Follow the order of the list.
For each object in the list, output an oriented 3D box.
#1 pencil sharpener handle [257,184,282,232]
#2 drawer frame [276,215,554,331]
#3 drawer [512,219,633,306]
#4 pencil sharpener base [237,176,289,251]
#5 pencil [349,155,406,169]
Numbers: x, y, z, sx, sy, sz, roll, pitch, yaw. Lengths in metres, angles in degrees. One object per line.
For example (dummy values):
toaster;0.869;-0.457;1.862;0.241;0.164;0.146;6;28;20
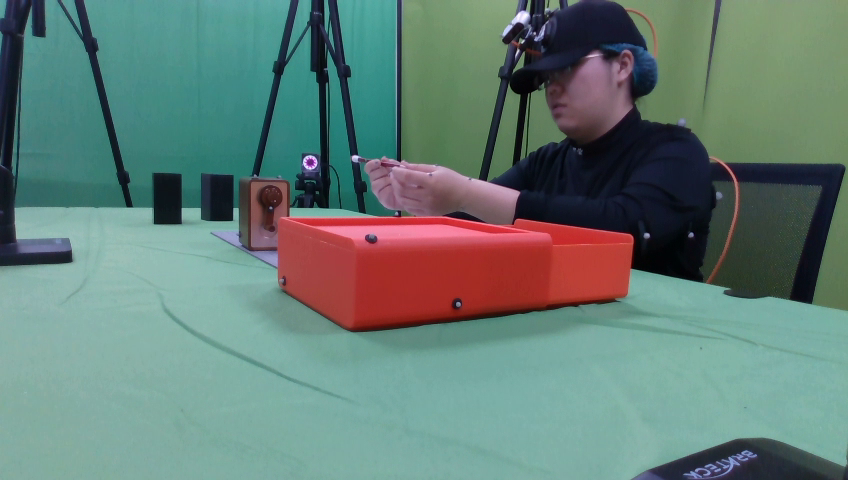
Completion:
pencil sharpener handle;-0.219;-0.046;0.865;0.036;0.067;0.030;5;5;-29
drawer frame;-0.015;0.022;0.610;0.215;0.082;0.200;-2;9;-32
drawer;0.085;0.021;0.674;0.213;0.073;0.193;-2;9;-32
pencil sharpener base;-0.243;-0.040;0.911;0.061;0.107;0.076;-1;8;-28
pencil;-0.081;-0.133;1.035;0.012;0.012;0.193;-2;12;-34
